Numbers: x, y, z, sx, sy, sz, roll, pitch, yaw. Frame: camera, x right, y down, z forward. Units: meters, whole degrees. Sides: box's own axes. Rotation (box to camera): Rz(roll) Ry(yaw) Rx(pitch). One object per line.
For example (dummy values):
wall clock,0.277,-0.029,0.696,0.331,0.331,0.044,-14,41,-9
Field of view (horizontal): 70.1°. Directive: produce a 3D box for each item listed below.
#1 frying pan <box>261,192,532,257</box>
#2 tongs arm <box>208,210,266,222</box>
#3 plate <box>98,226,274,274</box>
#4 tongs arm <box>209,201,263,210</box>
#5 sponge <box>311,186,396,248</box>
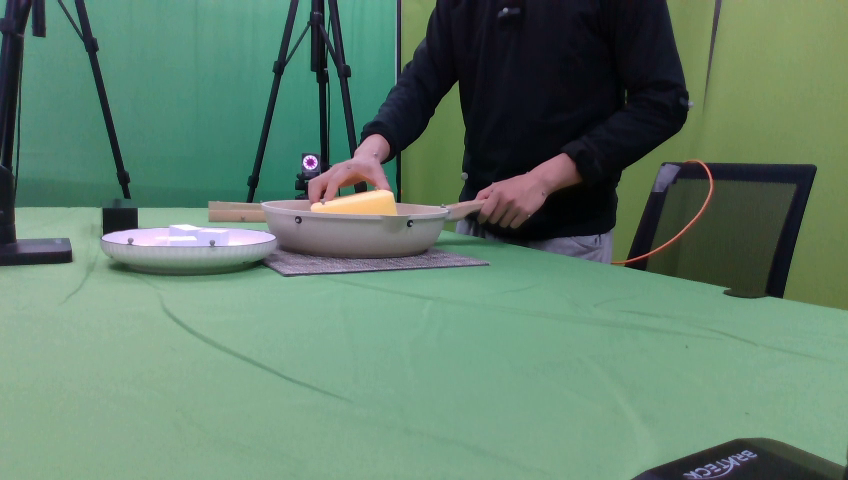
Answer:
frying pan,-0.017,-0.043,1.006,0.490,0.102,0.305,-11,13,-26
tongs arm,-0.280,-0.055,1.355,0.389,0.028,0.028,-2,6,-28
plate,-0.301,0.012,0.778,0.208,0.039,0.207,3,7,0
tongs arm,-0.306,-0.071,1.430,0.386,0.026,0.050,1,9,-15
sponge,-0.110,-0.040,0.942,0.118,0.061,0.206,-12,9,-8
